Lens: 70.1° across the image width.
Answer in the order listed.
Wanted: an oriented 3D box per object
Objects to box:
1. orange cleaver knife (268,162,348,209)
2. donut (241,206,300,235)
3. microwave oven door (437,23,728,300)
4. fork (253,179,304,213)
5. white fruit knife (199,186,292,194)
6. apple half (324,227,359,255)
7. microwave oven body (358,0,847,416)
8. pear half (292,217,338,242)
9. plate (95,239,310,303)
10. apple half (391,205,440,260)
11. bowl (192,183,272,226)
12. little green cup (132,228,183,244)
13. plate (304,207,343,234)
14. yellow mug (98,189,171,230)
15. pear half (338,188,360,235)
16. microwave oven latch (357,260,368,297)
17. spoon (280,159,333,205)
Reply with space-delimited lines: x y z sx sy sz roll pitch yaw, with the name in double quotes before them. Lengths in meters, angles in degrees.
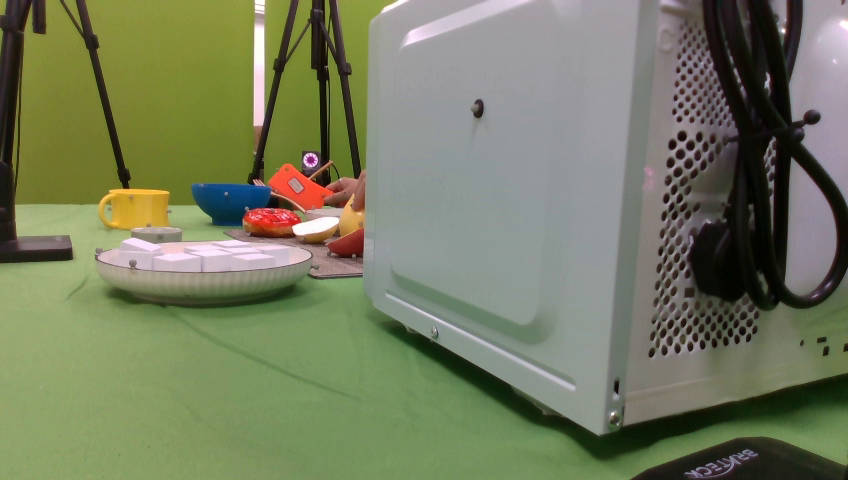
"orange cleaver knife" -0.246 -0.103 1.361 0.211 0.077 0.012 26 -2 -2
"donut" -0.263 -0.032 1.039 0.099 0.048 0.099 4 10 0
"microwave oven door" 0.180 -0.072 0.621 0.358 0.243 0.039 -2 9 -29
"fork" -0.294 -0.084 1.293 0.206 0.018 0.028 29 13 26
"white fruit knife" -0.399 -0.111 1.368 0.208 0.016 0.027 -4 -20 -29
"apple half" -0.095 0.002 0.848 0.081 0.033 0.081 -21 -1 0
"microwave oven body" 0.211 -0.047 0.474 0.444 0.260 0.324 -1 7 -28
"pear half" -0.175 -0.014 0.977 0.087 0.031 0.071 -3 15 36
"plate" -0.224 0.031 0.629 0.208 0.039 0.207 2 8 0
"apple half" -0.005 -0.009 0.837 0.053 0.074 0.081 10 6 23
"bowl" -0.381 -0.071 1.202 0.151 0.077 0.151 3 7 0
"little green cup" -0.342 0.006 0.779 0.061 0.038 0.061 2 8 0
"plate" -0.123 -0.037 1.149 0.209 0.038 0.209 2 7 0
"yellow mug" -0.519 -0.055 1.080 0.099 0.064 0.131 7 10 26
"pear half" -0.087 -0.042 0.922 0.055 0.110 0.077 10 14 34
"microwave oven latch" -0.019 0.033 0.530 0.079 0.029 0.030 -1 7 -26
"spoon" -0.316 -0.159 1.639 0.194 0.022 0.041 -49 32 -20
